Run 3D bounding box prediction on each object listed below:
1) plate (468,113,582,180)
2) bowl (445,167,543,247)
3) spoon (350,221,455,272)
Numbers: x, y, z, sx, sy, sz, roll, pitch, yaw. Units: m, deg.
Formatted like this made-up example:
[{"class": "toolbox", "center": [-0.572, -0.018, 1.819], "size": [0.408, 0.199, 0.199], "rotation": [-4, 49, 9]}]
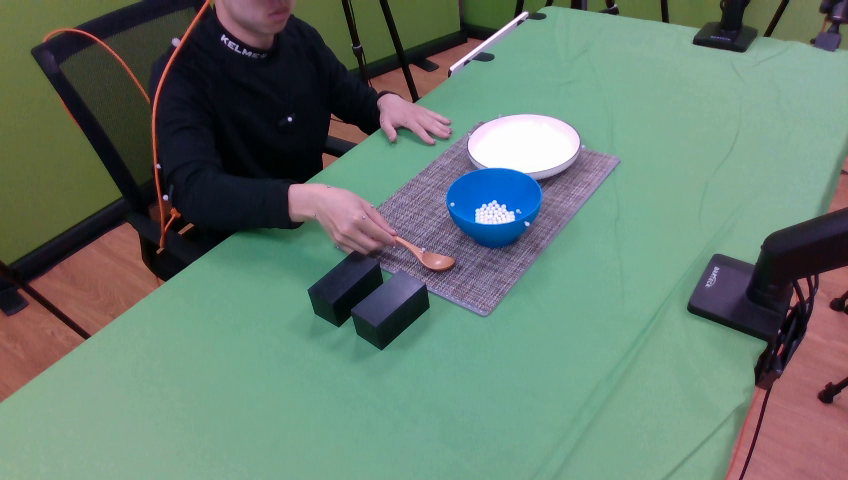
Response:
[{"class": "plate", "center": [0.186, -0.169, 1.122], "size": [0.207, 0.039, 0.206], "rotation": [-4, 40, 4]}, {"class": "bowl", "center": [0.111, -0.042, 0.952], "size": [0.151, 0.077, 0.150], "rotation": [-4, 41, 4]}, {"class": "spoon", "center": [-0.038, 0.005, 0.947], "size": [0.192, 0.022, 0.042], "rotation": [27, 42, 21]}]
